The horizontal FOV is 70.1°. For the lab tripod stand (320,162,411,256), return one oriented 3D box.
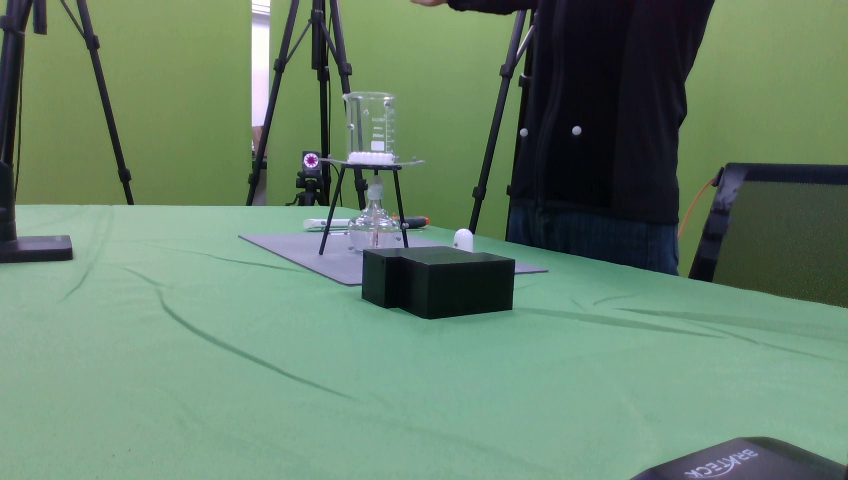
[{"bbox_3d":[-0.080,-0.047,0.879,0.148,0.131,0.148,2,9,0],"label":"lab tripod stand"}]

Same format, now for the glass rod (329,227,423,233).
[{"bbox_3d":[-0.087,-0.019,1.148,0.201,0.008,0.008,-3,8,-32],"label":"glass rod"}]

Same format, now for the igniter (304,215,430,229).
[{"bbox_3d":[-0.109,-0.037,1.228,0.278,0.025,0.057,-3,-1,-35],"label":"igniter"}]

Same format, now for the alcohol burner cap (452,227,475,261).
[{"bbox_3d":[0.057,0.005,0.872,0.034,0.048,0.034,2,7,0],"label":"alcohol burner cap"}]

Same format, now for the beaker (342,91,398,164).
[{"bbox_3d":[-0.079,-0.160,0.867,0.084,0.100,0.073,-5,10,-35],"label":"beaker"}]

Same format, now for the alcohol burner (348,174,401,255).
[{"bbox_3d":[-0.073,-0.037,0.885,0.078,0.119,0.078,2,9,0],"label":"alcohol burner"}]

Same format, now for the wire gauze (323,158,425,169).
[{"bbox_3d":[-0.080,-0.112,0.869,0.122,0.011,0.124,-6,12,-35],"label":"wire gauze"}]
